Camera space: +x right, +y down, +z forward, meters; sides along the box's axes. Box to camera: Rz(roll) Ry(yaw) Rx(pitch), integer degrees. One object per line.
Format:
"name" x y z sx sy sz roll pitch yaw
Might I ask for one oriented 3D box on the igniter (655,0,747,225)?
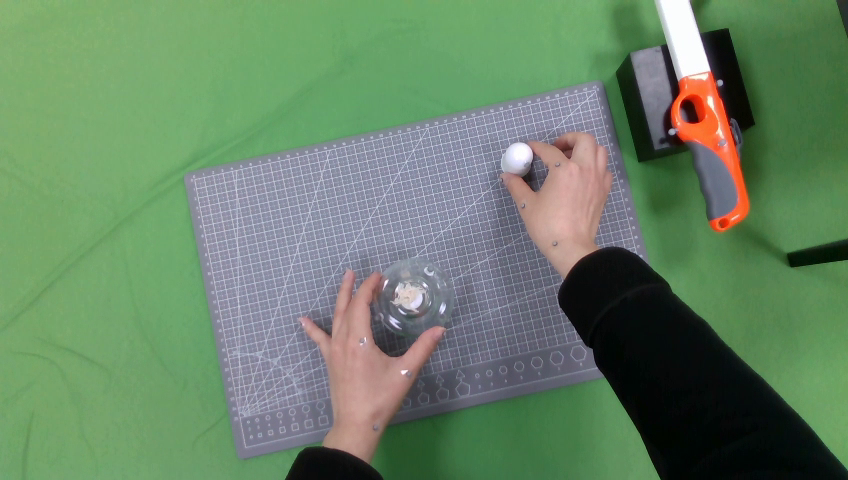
"igniter" 0.256 -0.150 0.575 0.057 0.025 0.275 -12 83 2

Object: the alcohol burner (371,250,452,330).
"alcohol burner" -0.013 0.047 0.566 0.078 0.119 0.078 0 86 3

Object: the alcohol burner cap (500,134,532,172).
"alcohol burner cap" 0.094 -0.090 0.610 0.034 0.048 0.034 0 84 3
